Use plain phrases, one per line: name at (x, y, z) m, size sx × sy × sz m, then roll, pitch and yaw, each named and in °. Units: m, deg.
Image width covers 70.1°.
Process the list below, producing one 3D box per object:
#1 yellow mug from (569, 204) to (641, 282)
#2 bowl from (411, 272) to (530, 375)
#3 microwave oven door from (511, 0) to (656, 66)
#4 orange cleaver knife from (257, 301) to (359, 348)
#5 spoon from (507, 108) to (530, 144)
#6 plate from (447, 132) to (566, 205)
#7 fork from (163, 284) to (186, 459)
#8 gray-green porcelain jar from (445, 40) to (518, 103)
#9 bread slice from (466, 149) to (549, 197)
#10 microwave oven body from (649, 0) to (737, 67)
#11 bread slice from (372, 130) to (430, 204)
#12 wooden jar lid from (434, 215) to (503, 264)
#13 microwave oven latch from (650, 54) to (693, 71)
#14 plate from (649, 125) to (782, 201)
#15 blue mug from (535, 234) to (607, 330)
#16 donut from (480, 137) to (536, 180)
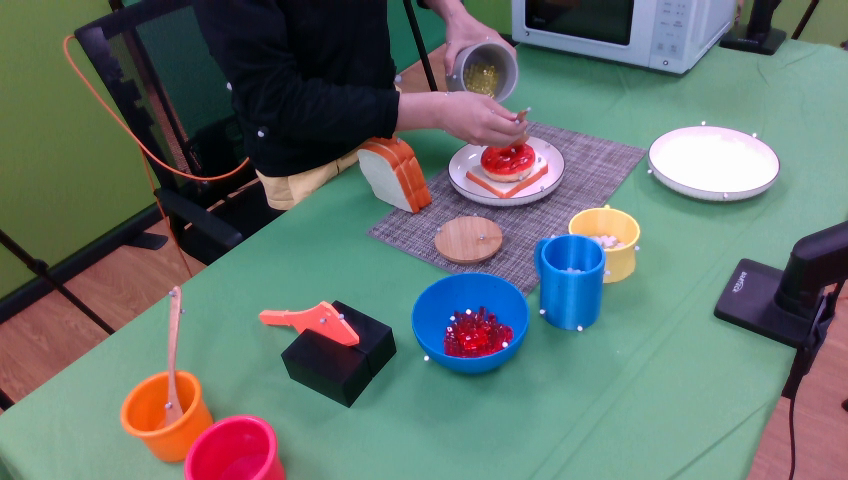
yellow mug at (0.268, -0.005, 0.904) m, size 0.099 × 0.064 × 0.130 m, roll 7°, pitch 41°, yaw 15°
bowl at (0.062, 0.120, 0.780) m, size 0.151 × 0.077 × 0.150 m, roll -4°, pitch 40°, yaw 4°
microwave oven door at (0.351, -0.539, 1.349) m, size 0.353 × 0.245 × 0.039 m, roll 24°, pitch 50°, yaw 31°
orange cleaver knife at (-0.160, 0.115, 0.813) m, size 0.210 × 0.077 × 0.012 m, roll -9°, pitch 29°, yaw 48°
spoon at (0.151, -0.181, 0.961) m, size 0.041 × 0.194 × 0.021 m, roll -15°, pitch 82°, yaw 6°
plate at (0.146, -0.124, 1.076) m, size 0.209 × 0.038 × 0.208 m, roll -4°, pitch 41°, yaw 4°
fork at (-0.302, 0.157, 0.733) m, size 0.028 × 0.019 × 0.207 m, roll -3°, pitch 84°, yaw 14°
gray-green porcelain jar at (0.098, -0.301, 1.092) m, size 0.106 × 0.106 × 0.126 m, roll -16°, pitch 16°, yaw -9°
bread slice at (0.156, -0.130, 1.084) m, size 0.132 × 0.019 × 0.104 m, roll -32°, pitch 47°, yaw -25°
microwave oven body at (0.475, -0.602, 1.411) m, size 0.438 × 0.261 × 0.327 m, roll 23°, pitch 50°, yaw 32°
bread slice at (-0.043, -0.127, 1.038) m, size 0.106 × 0.135 × 0.018 m, roll 30°, pitch 61°, yaw 33°
wooden jar lid at (0.070, 0.001, 0.956) m, size 0.108 × 0.021 × 0.108 m, roll -4°, pitch 40°, yaw 4°
microwave oven latch at (0.531, -0.386, 1.301) m, size 0.078 × 0.029 × 0.030 m, roll 26°, pitch 51°, yaw 33°
plate at (0.493, -0.127, 1.036) m, size 0.207 × 0.039 × 0.206 m, roll -4°, pitch 41°, yaw 4°
blue mug at (0.191, 0.048, 0.824) m, size 0.082 × 0.106 × 0.115 m, roll -26°, pitch 44°, yaw -20°
donut at (0.146, -0.144, 1.057) m, size 0.099 × 0.048 × 0.098 m, roll -6°, pitch 42°, yaw 6°
